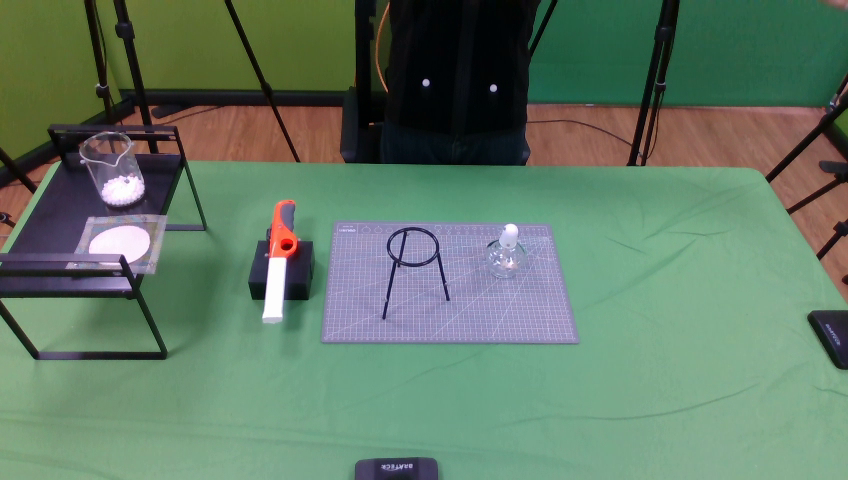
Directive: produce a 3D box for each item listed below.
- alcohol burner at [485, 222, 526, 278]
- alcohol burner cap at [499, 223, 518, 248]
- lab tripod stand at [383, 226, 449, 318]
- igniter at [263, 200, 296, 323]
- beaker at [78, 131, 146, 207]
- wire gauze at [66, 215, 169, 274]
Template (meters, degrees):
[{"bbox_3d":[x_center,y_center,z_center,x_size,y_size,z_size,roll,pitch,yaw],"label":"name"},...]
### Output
[{"bbox_3d":[0.154,0.014,1.129,0.078,0.119,0.077,3,44,-2],"label":"alcohol burner"},{"bbox_3d":[0.156,-0.010,1.102,0.034,0.048,0.033,1,53,-1],"label":"alcohol burner cap"},{"bbox_3d":[-0.023,0.055,1.062,0.148,0.132,0.147,2,48,-2],"label":"lab tripod stand"},{"bbox_3d":[-0.260,0.027,1.083,0.057,0.025,0.274,0,49,-7],"label":"igniter"},{"bbox_3d":[-0.488,-0.108,0.961,0.074,0.101,0.083,-25,53,-25],"label":"beaker"},{"bbox_3d":[-0.460,0.004,0.919,0.125,0.011,0.120,0,44,-7],"label":"wire gauze"}]
